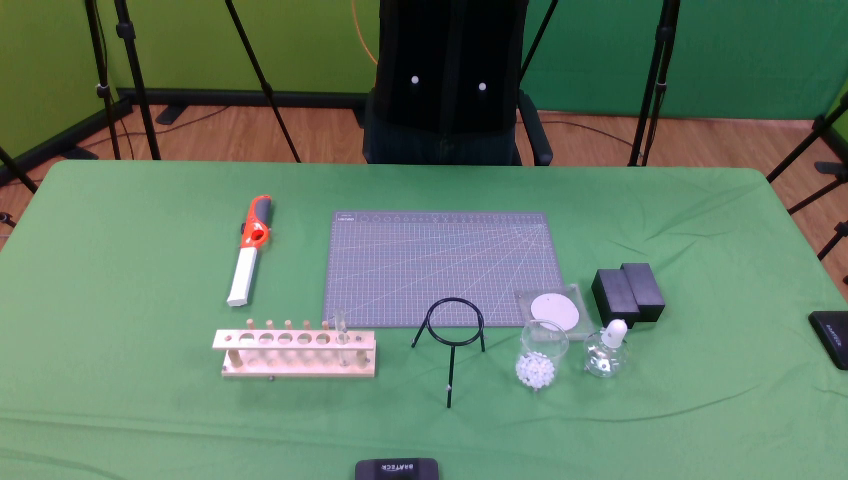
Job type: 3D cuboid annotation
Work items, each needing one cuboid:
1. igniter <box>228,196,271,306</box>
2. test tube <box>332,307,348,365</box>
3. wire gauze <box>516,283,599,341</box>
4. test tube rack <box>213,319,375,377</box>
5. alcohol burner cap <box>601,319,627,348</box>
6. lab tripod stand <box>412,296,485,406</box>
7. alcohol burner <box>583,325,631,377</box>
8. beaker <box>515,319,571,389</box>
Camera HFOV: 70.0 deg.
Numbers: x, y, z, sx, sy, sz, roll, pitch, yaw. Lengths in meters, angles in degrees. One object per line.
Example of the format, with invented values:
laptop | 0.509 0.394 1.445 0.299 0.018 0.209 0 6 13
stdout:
igniter | -0.331 0.011 1.160 0.057 0.025 0.274 -7 46 5
test tube | -0.128 0.151 0.931 0.017 0.151 0.017 1 50 -2
wire gauze | 0.240 0.131 1.094 0.125 0.011 0.120 -3 48 -8
test tube rack | -0.202 0.170 0.977 0.242 0.085 0.066 1 46 -3
alcohol burner cap | 0.305 0.146 0.966 0.034 0.048 0.033 6 41 -5
lab tripod stand | 0.045 0.168 0.963 0.148 0.132 0.147 3 47 -3
alcohol burner | 0.304 0.171 0.991 0.078 0.120 0.077 2 48 -2
beaker | 0.186 0.186 0.980 0.074 0.101 0.083 -23 51 -24
